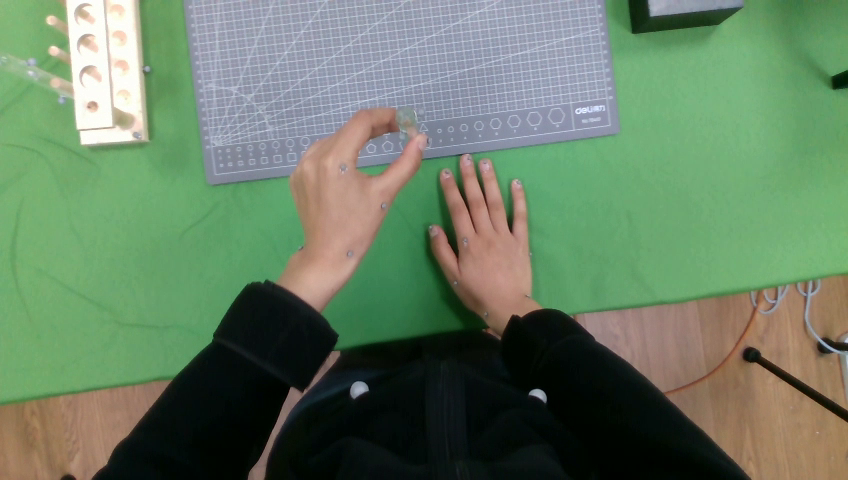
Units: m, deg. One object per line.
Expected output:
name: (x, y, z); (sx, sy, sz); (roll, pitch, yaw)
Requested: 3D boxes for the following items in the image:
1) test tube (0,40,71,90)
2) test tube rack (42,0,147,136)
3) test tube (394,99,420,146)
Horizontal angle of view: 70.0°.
test tube: (-0.348, -0.156, 0.555); (0.017, 0.150, 0.017); (0, 91, -3)
test tube rack: (-0.335, -0.232, 0.599); (0.067, 0.085, 0.242); (-5, 91, -3)
test tube: (-0.013, -0.097, 0.513); (0.017, 0.150, 0.017); (0, 91, 1)
